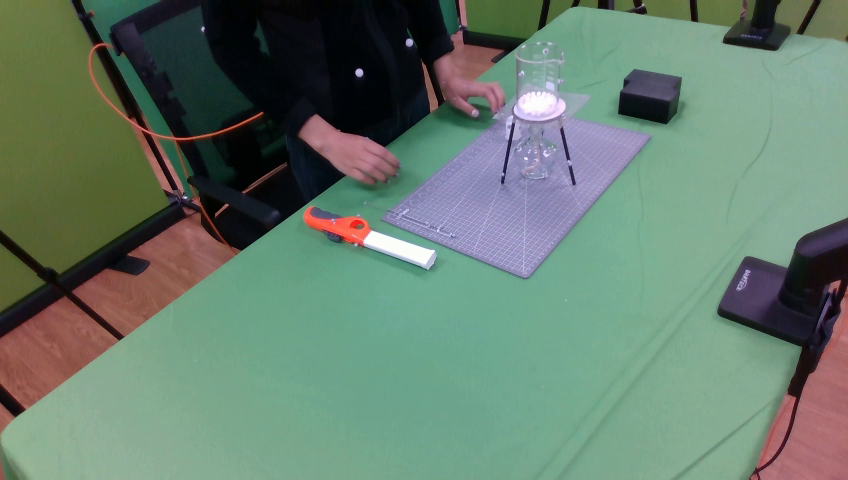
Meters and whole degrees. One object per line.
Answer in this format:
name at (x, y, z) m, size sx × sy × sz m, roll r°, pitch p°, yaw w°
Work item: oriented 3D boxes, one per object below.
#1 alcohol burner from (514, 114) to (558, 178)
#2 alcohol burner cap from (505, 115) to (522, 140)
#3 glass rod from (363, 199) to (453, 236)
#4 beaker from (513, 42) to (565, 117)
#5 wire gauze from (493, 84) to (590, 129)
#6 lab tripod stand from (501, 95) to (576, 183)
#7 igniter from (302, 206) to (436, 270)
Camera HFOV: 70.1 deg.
alcohol burner at (0.198, -0.170, 1.069) m, size 0.078 × 0.119 × 0.077 m, roll -4°, pitch 40°, yaw 4°
alcohol burner cap at (0.175, -0.223, 1.192) m, size 0.034 × 0.048 × 0.033 m, roll -6°, pitch 40°, yaw 5°
glass rod at (-0.031, -0.041, 1.041) m, size 0.198 × 0.008 × 0.008 m, roll 22°, pitch 50°, yaw 31°
beaker at (0.187, -0.257, 0.981) m, size 0.083 × 0.101 × 0.074 m, roll 21°, pitch 49°, yaw 29°
wire gauze at (0.197, -0.223, 1.013) m, size 0.120 × 0.011 × 0.125 m, roll 21°, pitch 47°, yaw 28°
lab tripod stand at (0.204, -0.174, 1.057) m, size 0.148 × 0.132 × 0.147 m, roll -4°, pitch 40°, yaw 4°
igniter at (-0.101, -0.007, 1.004) m, size 0.274 × 0.025 × 0.057 m, roll 19°, pitch 58°, yaw 30°
